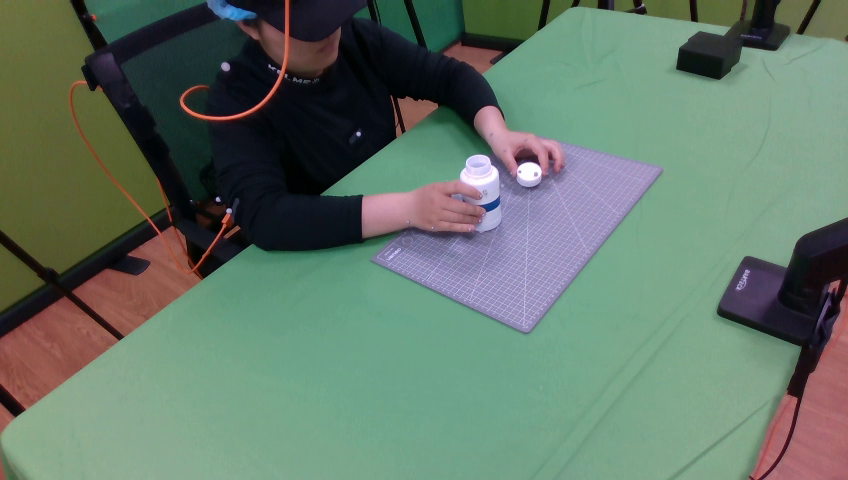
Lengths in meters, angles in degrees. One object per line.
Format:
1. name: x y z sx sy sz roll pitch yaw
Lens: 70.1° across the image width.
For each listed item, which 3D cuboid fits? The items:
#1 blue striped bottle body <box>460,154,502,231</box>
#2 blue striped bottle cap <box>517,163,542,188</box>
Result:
1. blue striped bottle body: 0.092 -0.078 0.977 0.063 0.121 0.063 -6 40 6
2. blue striped bottle cap: 0.185 -0.115 1.062 0.044 0.021 0.044 -2 56 3
